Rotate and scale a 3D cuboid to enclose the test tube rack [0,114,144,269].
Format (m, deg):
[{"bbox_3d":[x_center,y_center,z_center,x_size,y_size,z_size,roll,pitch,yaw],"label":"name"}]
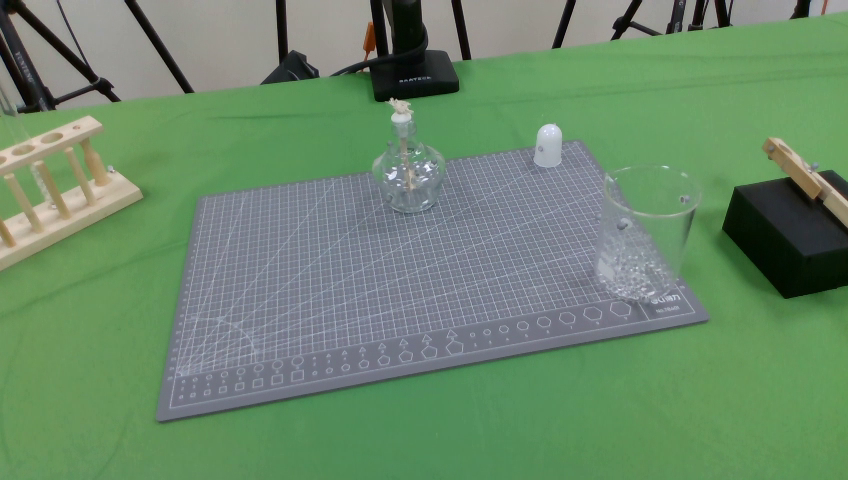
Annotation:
[{"bbox_3d":[-0.428,-0.034,0.618,0.066,0.086,0.242,30,51,33],"label":"test tube rack"}]

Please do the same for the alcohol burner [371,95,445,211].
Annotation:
[{"bbox_3d":[-0.019,-0.090,0.619,0.078,0.120,0.077,-4,40,4],"label":"alcohol burner"}]

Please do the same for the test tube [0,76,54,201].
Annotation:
[{"bbox_3d":[-0.410,-0.103,0.619,0.017,0.151,0.017,-1,39,2],"label":"test tube"}]

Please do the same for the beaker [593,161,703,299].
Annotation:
[{"bbox_3d":[0.182,-0.007,0.514,0.074,0.101,0.083,-30,46,-26],"label":"beaker"}]

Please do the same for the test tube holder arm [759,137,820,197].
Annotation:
[{"bbox_3d":[0.341,-0.069,0.563,0.010,0.015,0.087,-4,40,-8],"label":"test tube holder arm"}]

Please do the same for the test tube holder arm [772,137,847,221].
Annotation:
[{"bbox_3d":[0.353,-0.041,0.530,0.013,0.015,0.176,-4,40,-9],"label":"test tube holder arm"}]

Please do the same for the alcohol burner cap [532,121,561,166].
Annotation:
[{"bbox_3d":[0.139,-0.111,0.684,0.034,0.048,0.033,-2,41,2],"label":"alcohol burner cap"}]
